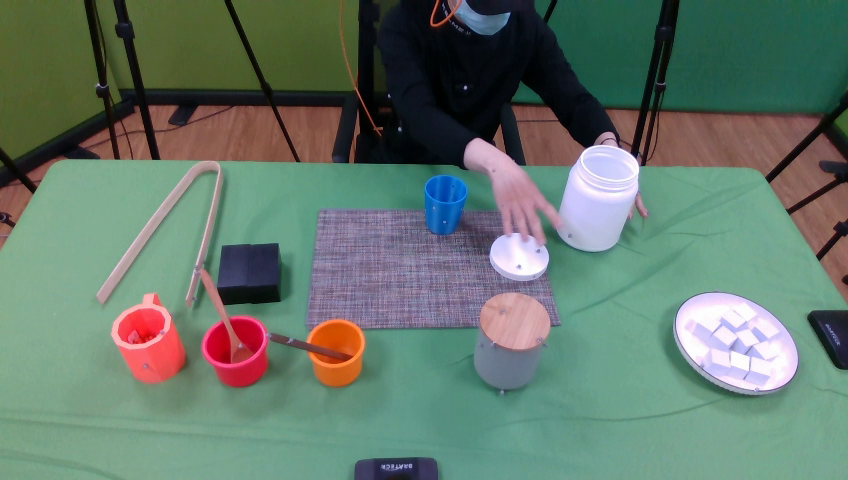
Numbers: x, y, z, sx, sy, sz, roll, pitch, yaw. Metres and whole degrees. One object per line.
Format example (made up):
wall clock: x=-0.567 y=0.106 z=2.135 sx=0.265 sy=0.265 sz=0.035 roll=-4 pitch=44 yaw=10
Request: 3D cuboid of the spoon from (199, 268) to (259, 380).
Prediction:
spoon: x=-0.312 y=0.132 z=0.962 sx=0.041 sy=0.021 sz=0.194 roll=-24 pitch=96 yaw=-22

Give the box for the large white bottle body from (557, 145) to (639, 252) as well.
large white bottle body: x=0.341 y=-0.082 z=1.186 sx=0.131 sy=0.185 sz=0.130 roll=2 pitch=46 yaw=-2

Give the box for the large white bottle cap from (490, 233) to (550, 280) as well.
large white bottle cap: x=0.186 y=0.031 z=1.176 sx=0.115 sy=0.018 sz=0.114 roll=2 pitch=46 yaw=-2

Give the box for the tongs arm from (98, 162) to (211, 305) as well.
tongs arm: x=-0.519 y=-0.027 z=1.184 sx=0.028 sy=0.028 sz=0.385 roll=5 pitch=45 yaw=13

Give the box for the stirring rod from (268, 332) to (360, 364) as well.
stirring rod: x=-0.167 y=0.169 z=0.942 sx=0.177 sy=0.006 sz=0.014 roll=26 pitch=26 yaw=-41

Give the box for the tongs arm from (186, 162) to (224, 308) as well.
tongs arm: x=-0.435 y=-0.025 z=1.181 sx=0.051 sy=0.027 sz=0.382 roll=-3 pitch=45 yaw=1

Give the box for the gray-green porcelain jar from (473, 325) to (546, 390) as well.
gray-green porcelain jar: x=0.135 y=0.170 z=0.969 sx=0.106 sy=0.127 sz=0.105 roll=2 pitch=46 yaw=-2

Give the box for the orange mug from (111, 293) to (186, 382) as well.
orange mug: x=-0.435 y=0.149 z=0.968 sx=0.083 sy=0.101 sz=0.125 roll=-5 pitch=51 yaw=-8

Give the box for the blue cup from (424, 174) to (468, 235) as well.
blue cup: x=0.039 y=-0.065 z=1.201 sx=0.093 sy=0.101 sz=0.092 roll=3 pitch=47 yaw=-3

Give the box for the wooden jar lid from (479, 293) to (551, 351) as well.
wooden jar lid: x=0.137 y=0.127 z=0.925 sx=0.108 sy=0.021 sz=0.107 roll=1 pitch=47 yaw=-1

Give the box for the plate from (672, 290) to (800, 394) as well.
plate: x=0.533 y=0.178 z=1.050 sx=0.208 sy=0.039 sz=0.206 roll=2 pitch=46 yaw=-2
